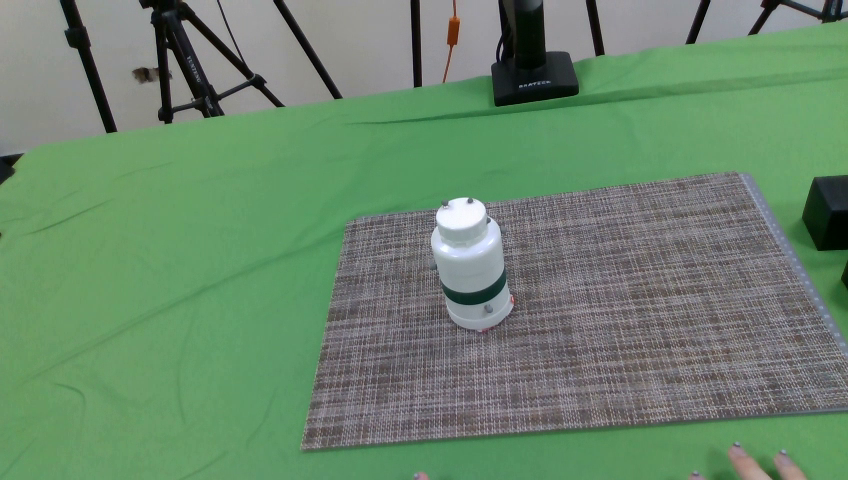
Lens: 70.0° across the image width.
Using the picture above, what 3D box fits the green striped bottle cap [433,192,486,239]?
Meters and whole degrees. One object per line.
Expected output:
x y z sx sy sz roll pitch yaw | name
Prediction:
0.031 -0.021 0.519 0.044 0.020 0.044 -9 42 8 | green striped bottle cap

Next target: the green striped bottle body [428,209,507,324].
0.040 0.016 0.554 0.063 0.120 0.062 -8 42 7 | green striped bottle body
